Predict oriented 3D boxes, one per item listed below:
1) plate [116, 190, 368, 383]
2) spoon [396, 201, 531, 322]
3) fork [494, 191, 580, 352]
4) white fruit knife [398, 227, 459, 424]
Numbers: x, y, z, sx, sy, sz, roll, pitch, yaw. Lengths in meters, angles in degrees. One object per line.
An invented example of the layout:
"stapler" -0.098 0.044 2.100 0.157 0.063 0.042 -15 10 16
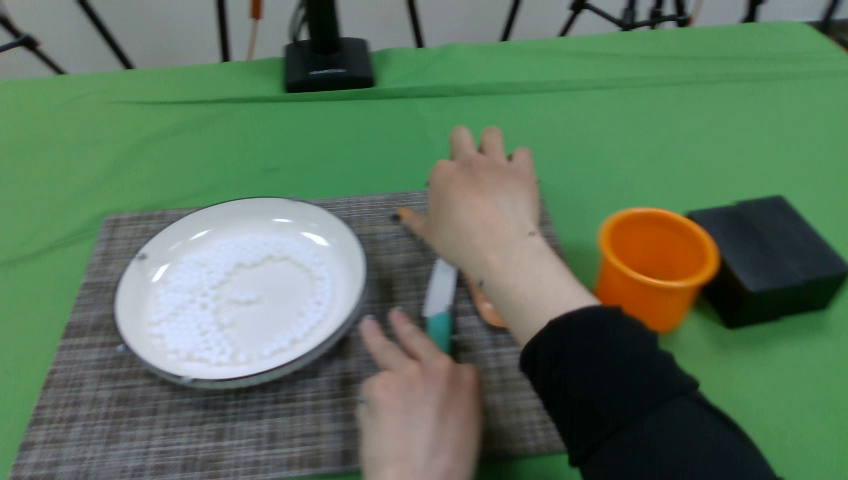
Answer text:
"plate" -0.151 0.037 0.526 0.209 0.038 0.207 0 45 0
"spoon" 0.029 0.012 0.560 0.041 0.022 0.191 -35 53 -13
"fork" 0.096 0.020 0.555 0.028 0.019 0.205 -12 48 -4
"white fruit knife" 0.012 0.061 0.517 0.027 0.016 0.205 1 47 14
